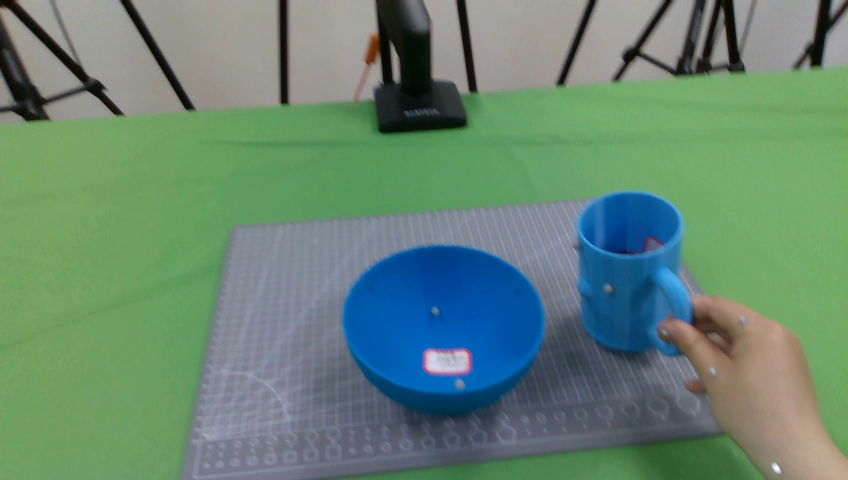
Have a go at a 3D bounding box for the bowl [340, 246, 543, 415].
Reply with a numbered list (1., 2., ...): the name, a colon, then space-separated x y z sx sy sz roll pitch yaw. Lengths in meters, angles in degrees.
1. bowl: 0.013 0.081 0.470 0.151 0.077 0.150 0 40 0

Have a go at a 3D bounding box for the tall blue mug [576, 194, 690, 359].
1. tall blue mug: 0.174 0.034 0.482 0.106 0.109 0.077 27 55 38
